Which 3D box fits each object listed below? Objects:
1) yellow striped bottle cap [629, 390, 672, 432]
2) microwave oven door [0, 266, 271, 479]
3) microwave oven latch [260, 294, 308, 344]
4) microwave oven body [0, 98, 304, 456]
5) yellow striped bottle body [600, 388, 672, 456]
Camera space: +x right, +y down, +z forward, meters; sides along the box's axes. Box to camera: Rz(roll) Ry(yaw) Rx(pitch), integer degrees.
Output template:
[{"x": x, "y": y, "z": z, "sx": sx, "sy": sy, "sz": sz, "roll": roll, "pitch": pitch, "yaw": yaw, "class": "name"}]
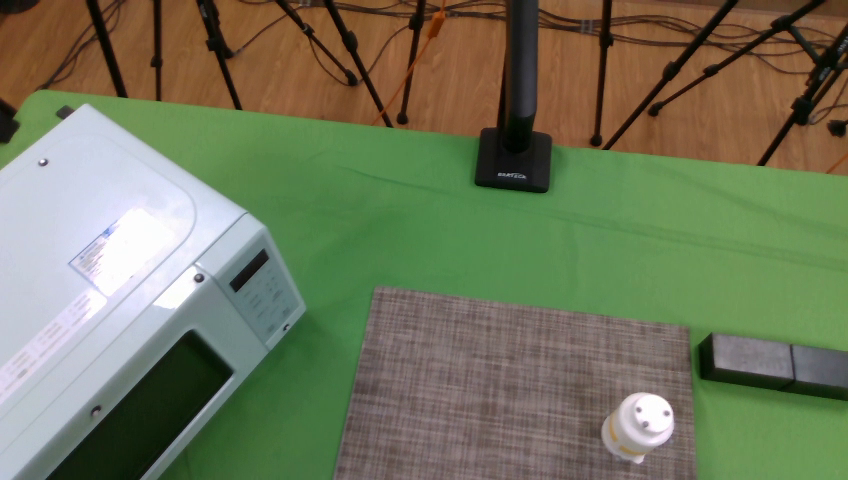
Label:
[{"x": 0.257, "y": 0.193, "z": 0.687, "sx": 0.044, "sy": 0.019, "sz": 0.044, "roll": -1, "pitch": 63, "yaw": 2, "class": "yellow striped bottle cap"}, {"x": -0.329, "y": 0.210, "z": 0.664, "sx": 0.039, "sy": 0.246, "sz": 0.355, "roll": 32, "pitch": 67, "yaw": 18, "class": "microwave oven door"}, {"x": -0.195, "y": 0.104, "z": 0.835, "sx": 0.030, "sy": 0.030, "sz": 0.079, "roll": 34, "pitch": 68, "yaw": 17, "class": "microwave oven latch"}, {"x": -0.422, "y": 0.108, "z": 0.726, "sx": 0.324, "sy": 0.262, "sz": 0.440, "roll": 33, "pitch": 68, "yaw": 17, "class": "microwave oven body"}, {"x": 0.258, "y": 0.219, "z": 0.733, "sx": 0.063, "sy": 0.121, "sz": 0.062, "roll": 0, "pitch": 61, "yaw": 1, "class": "yellow striped bottle body"}]
